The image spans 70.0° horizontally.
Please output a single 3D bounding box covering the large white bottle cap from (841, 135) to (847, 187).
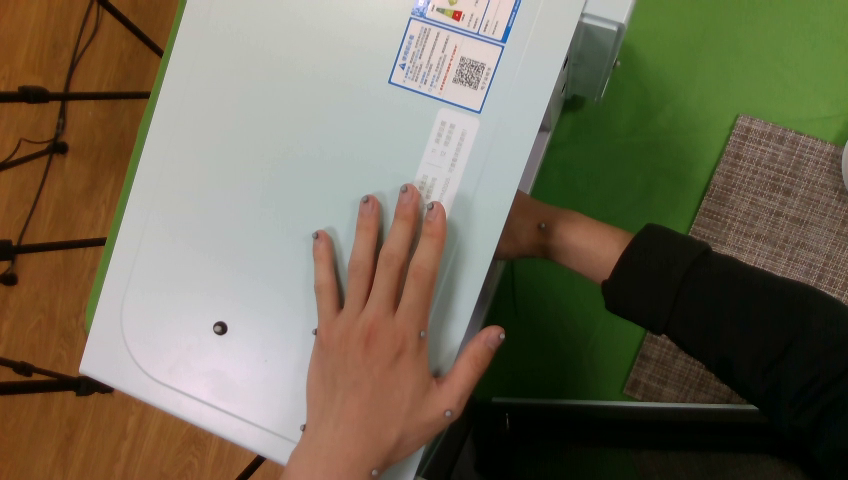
[{"bbox_3d":[0.450,-0.075,0.556,0.114,0.018,0.115,0,92,11],"label":"large white bottle cap"}]

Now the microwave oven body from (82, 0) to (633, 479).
[{"bbox_3d":[-0.045,-0.062,0.536,0.325,0.260,0.442,20,96,10],"label":"microwave oven body"}]

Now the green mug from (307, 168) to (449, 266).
[{"bbox_3d":[-0.039,-0.020,0.559,0.125,0.105,0.092,3,96,4],"label":"green mug"}]

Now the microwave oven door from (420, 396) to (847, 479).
[{"bbox_3d":[0.186,0.180,0.493,0.355,0.244,0.039,-2,91,12],"label":"microwave oven door"}]

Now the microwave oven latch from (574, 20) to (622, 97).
[{"bbox_3d":[0.170,-0.181,0.586,0.030,0.029,0.079,20,96,10],"label":"microwave oven latch"}]
